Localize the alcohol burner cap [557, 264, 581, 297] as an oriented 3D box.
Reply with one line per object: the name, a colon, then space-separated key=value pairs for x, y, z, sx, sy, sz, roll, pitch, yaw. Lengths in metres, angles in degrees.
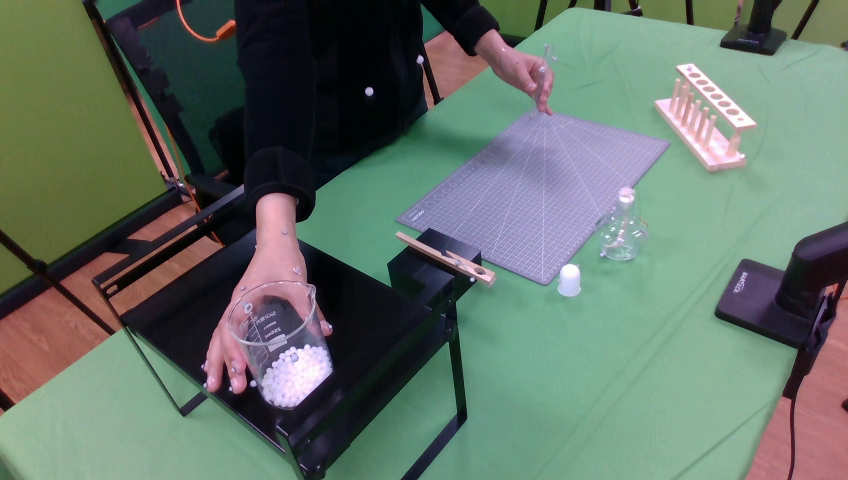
alcohol burner cap: x=0.209 y=0.055 z=0.866 sx=0.034 sy=0.048 sz=0.033 roll=-4 pitch=42 yaw=4

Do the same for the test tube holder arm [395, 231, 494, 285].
test tube holder arm: x=0.025 y=0.024 z=0.872 sx=0.177 sy=0.015 sz=0.013 roll=24 pitch=60 yaw=32

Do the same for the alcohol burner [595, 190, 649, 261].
alcohol burner: x=0.294 y=-0.028 z=0.894 sx=0.078 sy=0.119 sz=0.077 roll=-4 pitch=43 yaw=4

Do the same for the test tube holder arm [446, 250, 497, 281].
test tube holder arm: x=0.064 y=0.035 z=0.851 sx=0.087 sy=0.015 sz=0.010 roll=24 pitch=60 yaw=32

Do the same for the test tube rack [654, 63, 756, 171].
test tube rack: x=0.510 y=-0.233 z=1.120 sx=0.067 sy=0.085 sz=0.241 roll=-8 pitch=41 yaw=-1

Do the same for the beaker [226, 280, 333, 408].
beaker: x=-0.123 y=0.096 z=0.546 sx=0.073 sy=0.100 sz=0.084 roll=27 pitch=51 yaw=33

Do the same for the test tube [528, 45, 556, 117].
test tube: x=0.203 y=-0.272 z=1.048 sx=0.017 sy=0.150 sz=0.017 roll=3 pitch=54 yaw=-3
